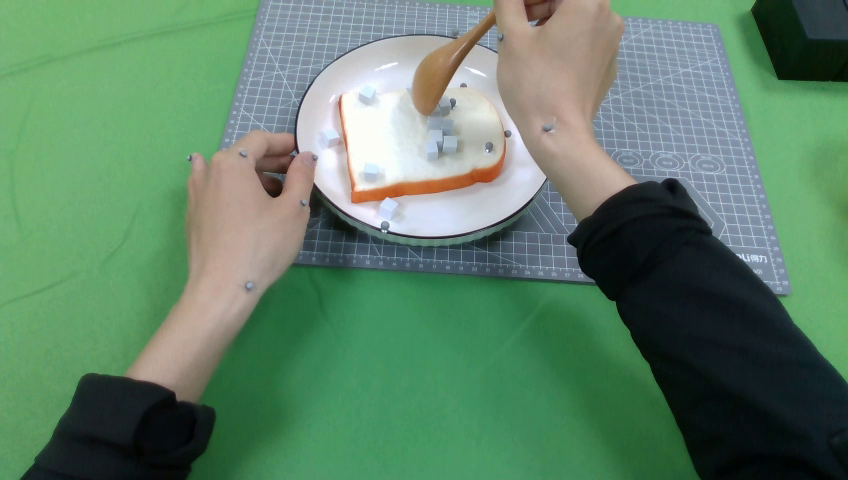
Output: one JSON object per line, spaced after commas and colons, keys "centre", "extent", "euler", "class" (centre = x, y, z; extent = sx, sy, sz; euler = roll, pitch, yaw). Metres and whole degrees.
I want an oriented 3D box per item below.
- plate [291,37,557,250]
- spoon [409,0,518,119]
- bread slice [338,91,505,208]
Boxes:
{"centre": [0.000, -0.078, 0.488], "extent": [0.209, 0.038, 0.207], "euler": [2, 60, -3], "class": "plate"}
{"centre": [0.044, -0.156, 0.425], "extent": [0.022, 0.194, 0.041], "euler": [10, 51, -41], "class": "spoon"}
{"centre": [-0.002, -0.081, 0.494], "extent": [0.132, 0.019, 0.104], "euler": [-11, 62, -7], "class": "bread slice"}
